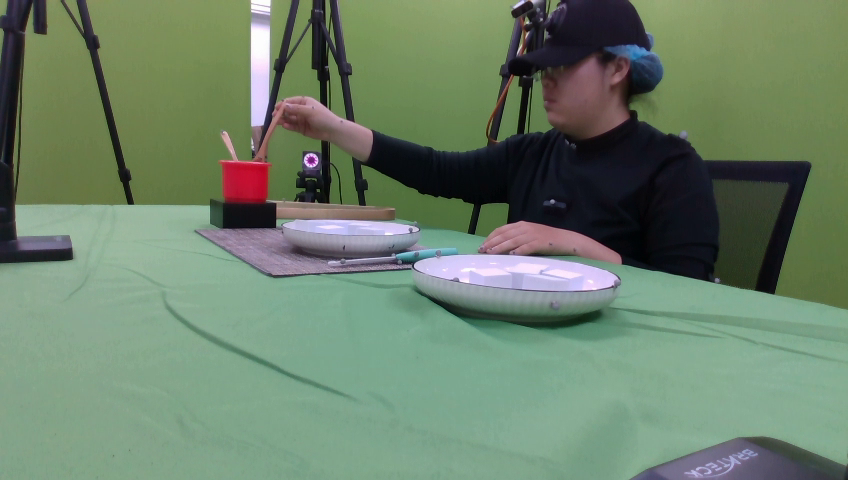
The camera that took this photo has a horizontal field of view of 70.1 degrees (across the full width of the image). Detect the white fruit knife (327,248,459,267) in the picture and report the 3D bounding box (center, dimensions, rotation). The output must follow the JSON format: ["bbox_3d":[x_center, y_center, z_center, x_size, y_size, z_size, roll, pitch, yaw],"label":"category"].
[{"bbox_3d":[-0.034,0.026,0.807,0.208,0.016,0.027,-4,-18,-34],"label":"white fruit knife"}]

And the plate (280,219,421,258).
[{"bbox_3d":[-0.108,-0.002,0.902,0.208,0.039,0.207,3,7,0],"label":"plate"}]

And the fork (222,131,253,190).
[{"bbox_3d":[-0.373,-0.160,1.196,0.028,0.018,0.206,-21,51,-14],"label":"fork"}]

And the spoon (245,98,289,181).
[{"bbox_3d":[-0.308,-0.199,1.196,0.041,0.193,0.022,14,-13,26],"label":"spoon"}]

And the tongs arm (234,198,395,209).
[{"bbox_3d":[-0.263,-0.076,1.460,0.386,0.026,0.050,3,8,-8],"label":"tongs arm"}]

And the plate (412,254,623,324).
[{"bbox_3d":[0.091,0.047,0.609,0.209,0.038,0.209,2,7,0],"label":"plate"}]

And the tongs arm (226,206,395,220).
[{"bbox_3d":[-0.247,-0.061,1.382,0.389,0.028,0.028,0,5,-21],"label":"tongs arm"}]
